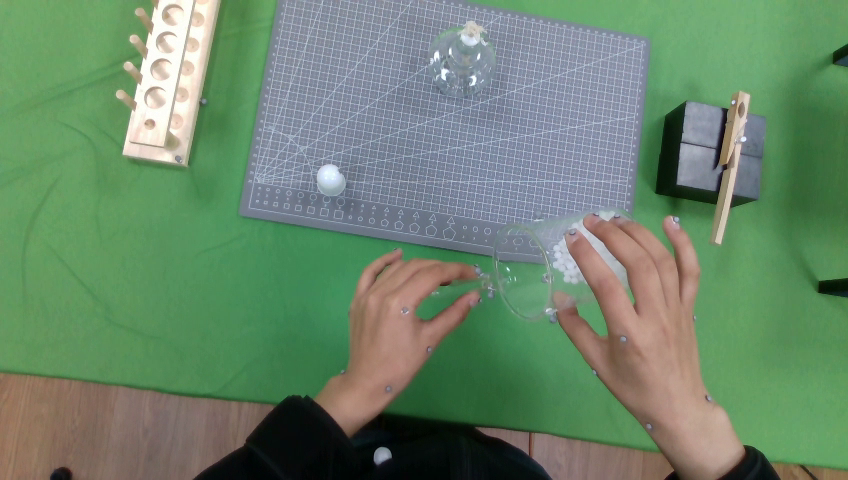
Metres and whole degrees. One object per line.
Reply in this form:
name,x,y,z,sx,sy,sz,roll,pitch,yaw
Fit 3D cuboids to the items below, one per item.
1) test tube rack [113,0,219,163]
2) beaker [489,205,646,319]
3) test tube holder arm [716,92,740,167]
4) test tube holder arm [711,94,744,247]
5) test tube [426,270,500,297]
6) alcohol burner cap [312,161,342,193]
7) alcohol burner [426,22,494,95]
test tube rack,-0.275,-0.213,0.643,0.067,0.085,0.241,9,83,-5
beaker,0.110,0.014,0.467,0.100,0.084,0.073,-11,81,-25
test tube holder arm,0.348,-0.126,0.694,0.010,0.015,0.087,12,84,-2
test tube holder arm,0.345,-0.080,0.689,0.013,0.015,0.178,10,84,-3
test tube,0.031,0.041,0.552,0.017,0.150,0.017,3,82,-19
alcohol burner cap,-0.107,-0.072,0.667,0.034,0.048,0.034,1,84,-7
alcohol burner,0.041,-0.205,0.663,0.078,0.119,0.077,1,84,-4
